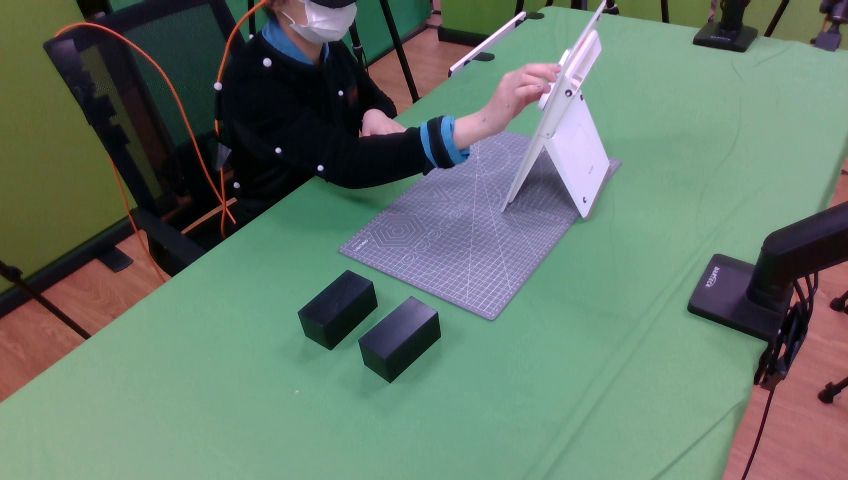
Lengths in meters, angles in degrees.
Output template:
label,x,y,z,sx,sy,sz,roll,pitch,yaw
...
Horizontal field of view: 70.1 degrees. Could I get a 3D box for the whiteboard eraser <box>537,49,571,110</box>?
label,x,y,z,sx,sy,sz,roll,pitch,yaw
whiteboard eraser,0.197,-0.240,0.909,0.019,0.041,0.101,28,84,9

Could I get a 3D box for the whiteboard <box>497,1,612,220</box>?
label,x,y,z,sx,sy,sz,roll,pitch,yaw
whiteboard,0.260,-0.177,0.962,0.143,0.306,0.217,28,49,9
